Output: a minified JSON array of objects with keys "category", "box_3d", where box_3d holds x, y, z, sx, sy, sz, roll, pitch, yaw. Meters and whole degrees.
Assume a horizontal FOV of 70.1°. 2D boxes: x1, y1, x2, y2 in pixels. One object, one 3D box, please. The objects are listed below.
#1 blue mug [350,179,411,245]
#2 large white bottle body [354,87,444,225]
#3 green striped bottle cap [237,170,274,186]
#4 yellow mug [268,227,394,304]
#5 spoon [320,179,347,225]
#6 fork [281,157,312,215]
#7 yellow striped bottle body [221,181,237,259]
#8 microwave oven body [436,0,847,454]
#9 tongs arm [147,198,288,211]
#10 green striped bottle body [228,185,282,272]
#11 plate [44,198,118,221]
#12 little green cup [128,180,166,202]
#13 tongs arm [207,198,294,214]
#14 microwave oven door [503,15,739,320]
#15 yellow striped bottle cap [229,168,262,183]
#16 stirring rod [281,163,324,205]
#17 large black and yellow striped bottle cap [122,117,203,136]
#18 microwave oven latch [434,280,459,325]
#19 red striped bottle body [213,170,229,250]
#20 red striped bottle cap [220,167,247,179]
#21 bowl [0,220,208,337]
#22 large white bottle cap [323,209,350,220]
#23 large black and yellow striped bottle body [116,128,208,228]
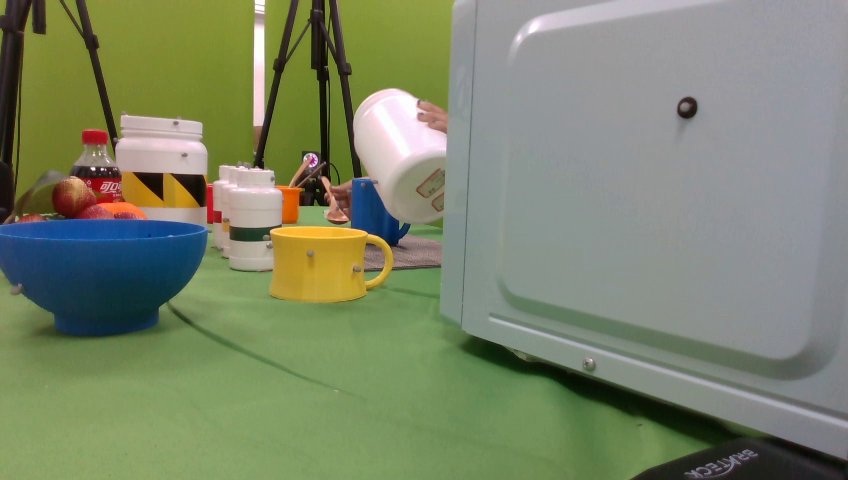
[{"category":"blue mug","box_3d":[-0.068,-0.046,1.000,0.116,0.106,0.083,7,9,32]},{"category":"large white bottle body","box_3d":[-0.024,-0.127,0.876,0.131,0.130,0.184,-2,44,-29]},{"category":"green striped bottle cap","box_3d":[-0.205,-0.075,0.737,0.044,0.020,0.044,1,6,0]},{"category":"yellow mug","box_3d":[-0.094,0.023,0.630,0.131,0.064,0.099,0,8,-22]},{"category":"spoon","box_3d":[-0.178,-0.075,1.147,0.042,0.021,0.193,0,33,-17]},{"category":"fork","box_3d":[-0.289,-0.116,1.321,0.028,0.019,0.207,6,51,19]},{"category":"yellow striped bottle body","box_3d":[-0.244,-0.035,0.823,0.063,0.120,0.063,3,8,0]},{"category":"microwave oven body","box_3d":[0.279,-0.040,0.464,0.444,0.260,0.324,-3,9,-41]},{"category":"tongs arm","box_3d":[-0.503,-0.091,1.513,0.028,0.028,0.389,-1,4,38]},{"category":"green striped bottle body","box_3d":[-0.208,-0.023,0.745,0.063,0.119,0.063,3,7,0]},{"category":"plate","box_3d":[-0.617,-0.056,1.179,0.209,0.038,0.209,3,7,0]},{"category":"little green cup","box_3d":[-0.485,-0.087,1.062,0.061,0.038,0.061,-1,6,0]},{"category":"tongs arm","box_3d":[-0.423,-0.084,1.472,0.050,0.026,0.386,2,6,22]},{"category":"microwave oven door","box_3d":[0.218,-0.065,0.600,0.358,0.243,0.039,-4,10,-41]},{"category":"yellow striped bottle cap","box_3d":[-0.240,-0.087,0.816,0.044,0.018,0.044,-2,5,1]},{"category":"stirring rod","box_3d":[-0.278,-0.105,1.293,0.176,0.006,0.014,-47,25,-18]},{"category":"large black and yellow striped bottle cap","box_3d":[-0.399,-0.174,0.927,0.115,0.019,0.115,5,9,-1]},{"category":"microwave oven latch","box_3d":[0.044,0.045,0.470,0.079,0.029,0.030,-2,8,-39]},{"category":"red striped bottle body","box_3d":[-0.283,-0.047,0.909,0.063,0.119,0.063,2,12,0]},{"category":"red striped bottle cap","box_3d":[-0.281,-0.099,0.901,0.044,0.017,0.044,-1,5,0]},{"category":"bowl","box_3d":[-0.251,0.029,0.479,0.151,0.077,0.151,2,7,0]},{"category":"large white bottle cap","box_3d":[-0.184,-0.062,1.449,0.115,0.018,0.115,2,8,0]},{"category":"large black and yellow striped bottle body","box_3d":[-0.404,-0.089,0.937,0.131,0.184,0.130,3,7,0]}]
